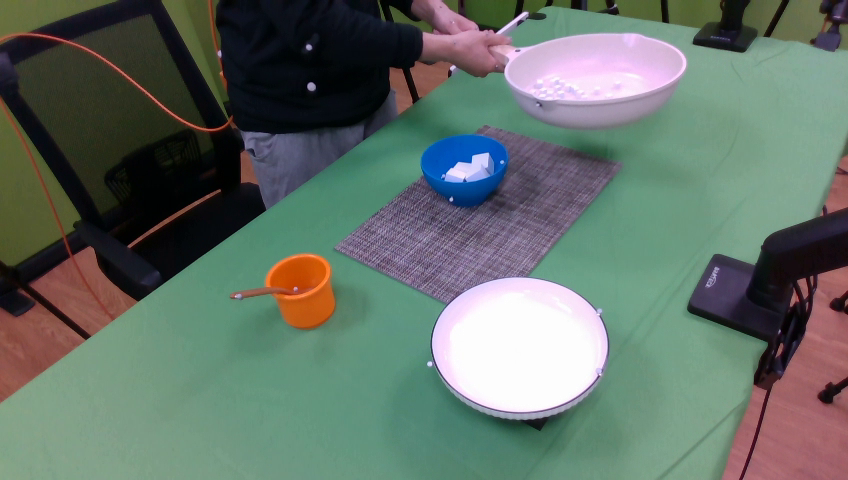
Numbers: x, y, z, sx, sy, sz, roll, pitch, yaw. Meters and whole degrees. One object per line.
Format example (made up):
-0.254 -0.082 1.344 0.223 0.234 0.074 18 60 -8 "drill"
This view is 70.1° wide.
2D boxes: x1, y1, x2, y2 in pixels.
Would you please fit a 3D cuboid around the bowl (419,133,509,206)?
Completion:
0.071 -0.112 1.038 0.151 0.077 0.150 -4 40 4 "bowl"

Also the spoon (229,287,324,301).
-0.197 0.071 0.816 0.041 0.195 0.021 12 88 23 "spoon"

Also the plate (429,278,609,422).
0.111 0.129 0.716 0.207 0.039 0.206 -5 39 4 "plate"

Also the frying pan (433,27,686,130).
0.207 -0.315 1.077 0.484 0.103 0.308 30 50 30 "frying pan"
